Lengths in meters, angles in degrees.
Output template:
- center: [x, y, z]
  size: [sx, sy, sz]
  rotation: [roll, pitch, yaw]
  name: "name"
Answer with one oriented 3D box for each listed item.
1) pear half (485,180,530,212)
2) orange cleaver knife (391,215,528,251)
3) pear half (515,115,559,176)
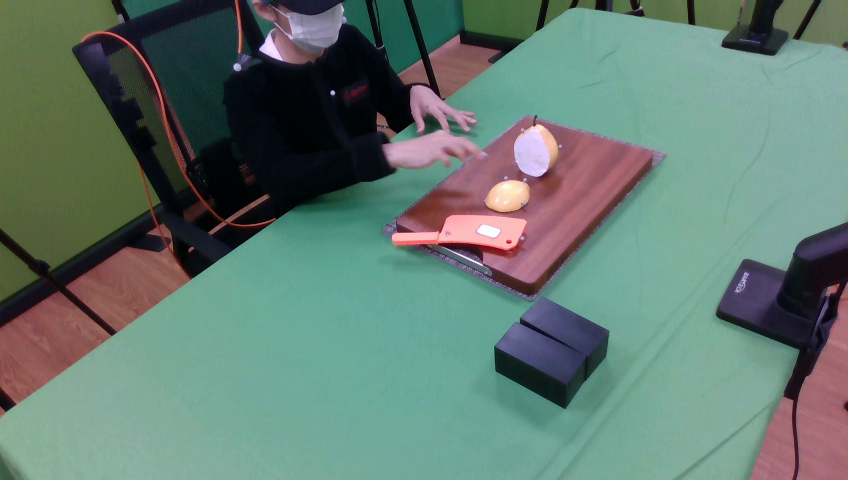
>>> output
- center: [0.142, -0.081, 1.001]
  size: [0.088, 0.031, 0.070]
  rotation: [-38, 54, -26]
  name: "pear half"
- center: [0.055, -0.013, 0.943]
  size: [0.211, 0.012, 0.077]
  rotation: [0, 45, 14]
  name: "orange cleaver knife"
- center: [0.197, -0.169, 1.033]
  size: [0.076, 0.110, 0.056]
  rotation: [22, 49, 26]
  name: "pear half"
